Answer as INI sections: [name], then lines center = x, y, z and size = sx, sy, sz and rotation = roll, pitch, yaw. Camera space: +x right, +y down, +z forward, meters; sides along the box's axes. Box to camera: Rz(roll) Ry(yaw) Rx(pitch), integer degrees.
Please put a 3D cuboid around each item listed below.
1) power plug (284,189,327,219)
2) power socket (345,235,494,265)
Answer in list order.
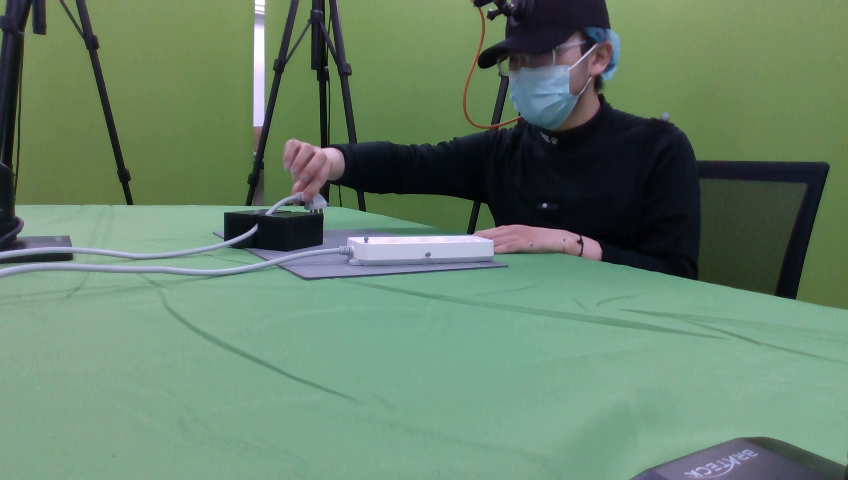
[power plug]
center = -0.193, -0.056, 0.984
size = 0.073, 0.052, 0.035
rotation = -14, 13, -28
[power socket]
center = -0.003, 0.012, 0.851
size = 0.228, 0.032, 0.072
rotation = -1, 7, -26
